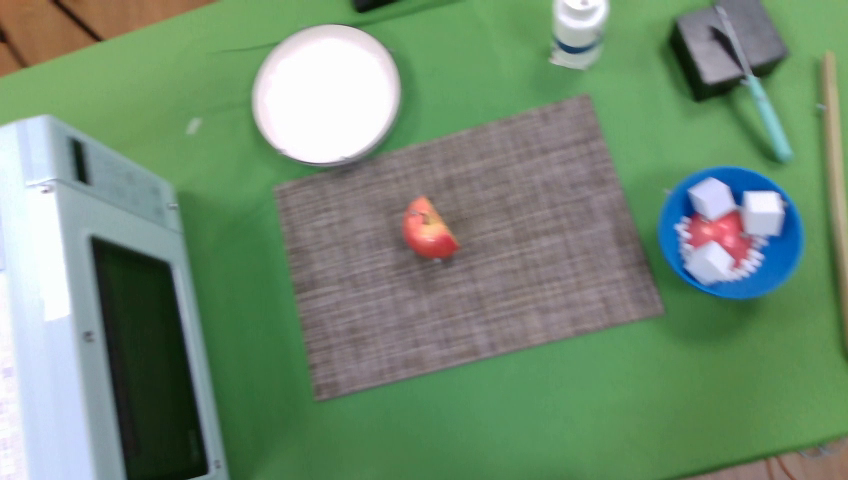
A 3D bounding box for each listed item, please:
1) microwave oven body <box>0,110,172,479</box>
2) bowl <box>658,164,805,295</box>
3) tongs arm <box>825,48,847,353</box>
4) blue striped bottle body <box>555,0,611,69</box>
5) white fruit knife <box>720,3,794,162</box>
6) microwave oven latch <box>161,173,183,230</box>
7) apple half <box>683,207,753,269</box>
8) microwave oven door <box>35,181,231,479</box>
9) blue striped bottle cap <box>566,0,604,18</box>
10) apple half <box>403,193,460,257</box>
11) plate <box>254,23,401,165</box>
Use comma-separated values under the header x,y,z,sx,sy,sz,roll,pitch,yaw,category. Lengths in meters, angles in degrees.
x,y,z,sx,sy,sz,roll,pitch,yaw,category
-0.467,0.137,0.709,0.326,0.261,0.439,-17,76,5,microwave oven body
0.345,-0.005,0.705,0.151,0.077,0.150,-2,77,10,bowl
0.497,-0.046,0.714,0.028,0.028,0.386,2,78,7,tongs arm
0.199,-0.273,0.764,0.063,0.121,0.063,-2,77,9,blue striped bottle body
0.399,-0.190,0.732,0.016,0.027,0.207,-24,92,21,white fruit knife
-0.355,-0.050,0.831,0.030,0.029,0.078,-17,76,5,microwave oven latch
0.344,-0.005,0.701,0.081,0.033,0.081,-3,76,11,apple half
-0.318,0.132,0.680,0.039,0.245,0.353,-17,75,5,microwave oven door
0.191,-0.285,0.716,0.044,0.021,0.044,-1,80,9,blue striped bottle cap
0.004,-0.011,0.761,0.053,0.075,0.080,-36,78,6,apple half
-0.132,-0.199,0.847,0.207,0.039,0.206,-2,78,8,plate
